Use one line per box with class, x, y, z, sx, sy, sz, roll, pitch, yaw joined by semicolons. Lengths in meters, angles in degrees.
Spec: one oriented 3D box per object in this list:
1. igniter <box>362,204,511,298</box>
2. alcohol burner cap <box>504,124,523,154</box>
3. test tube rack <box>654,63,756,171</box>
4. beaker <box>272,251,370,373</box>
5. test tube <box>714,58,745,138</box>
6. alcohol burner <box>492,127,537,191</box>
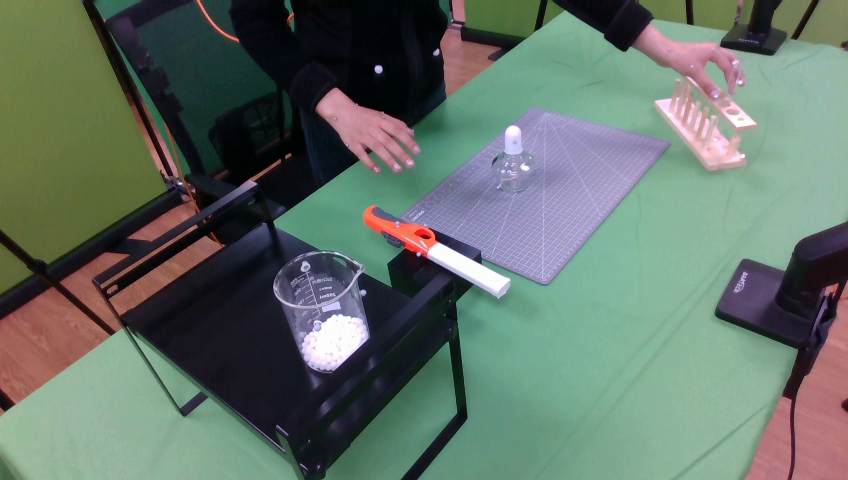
igniter;0.007;0.009;0.887;0.274;0.025;0.057;29;50;32
alcohol burner cap;0.151;-0.172;1.022;0.034;0.048;0.033;-4;36;3
test tube rack;0.511;-0.233;1.120;0.067;0.085;0.241;-8;41;-1
beaker;-0.090;0.070;0.571;0.084;0.101;0.073;-18;42;-13
test tube;0.531;-0.245;1.054;0.017;0.151;0.017;-2;40;2
alcohol burner;0.156;-0.146;1.046;0.078;0.119;0.077;-4;43;4
